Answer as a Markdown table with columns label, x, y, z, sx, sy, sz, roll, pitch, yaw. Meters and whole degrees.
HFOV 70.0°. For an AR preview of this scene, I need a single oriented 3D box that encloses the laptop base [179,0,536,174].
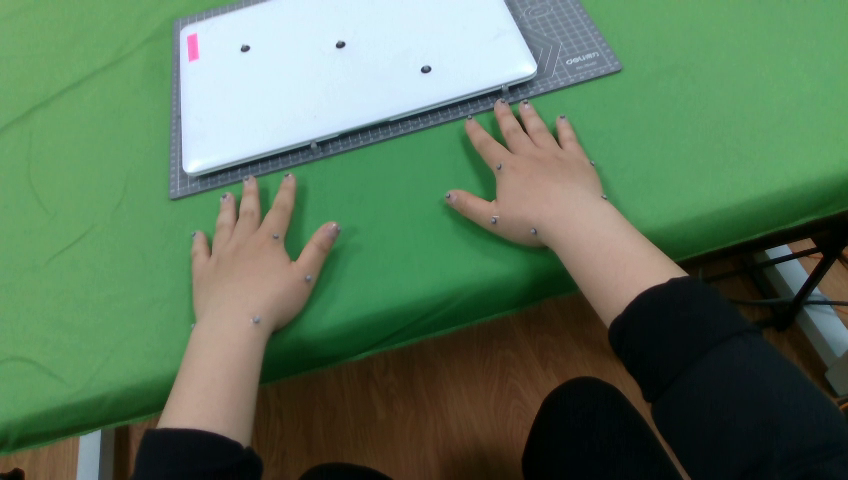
| label | x | y | z | sx | sy | sz | roll | pitch | yaw |
| --- | --- | --- | --- | --- | --- | --- | --- | --- | --- |
| laptop base | -0.085 | -0.200 | 0.643 | 0.354 | 0.023 | 0.233 | -17 | 58 | 0 |

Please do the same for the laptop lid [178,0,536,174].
| label | x | y | z | sx | sy | sz | roll | pitch | yaw |
| --- | --- | --- | --- | --- | --- | --- | --- | --- | --- |
| laptop lid | -0.086 | -0.204 | 0.632 | 0.357 | 0.013 | 0.239 | -15 | 57 | 1 |
